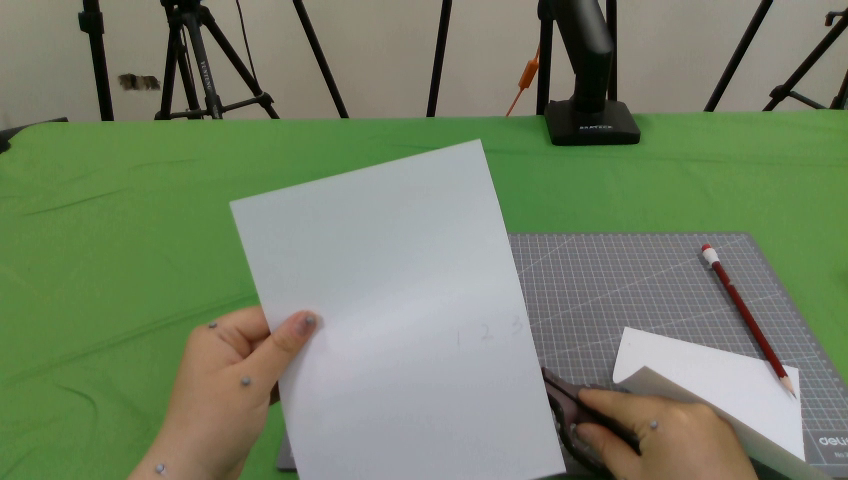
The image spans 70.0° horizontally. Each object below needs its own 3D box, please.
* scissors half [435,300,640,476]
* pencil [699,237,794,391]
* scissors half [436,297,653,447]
[{"bbox_3d":[0.070,0.095,0.415,0.174,0.013,0.040,41,40,24],"label":"scissors half"},{"bbox_3d":[0.292,0.060,0.557,0.012,0.012,0.192,-2,39,0],"label":"pencil"},{"bbox_3d":[0.082,0.088,0.430,0.174,0.013,0.040,31,32,10],"label":"scissors half"}]
